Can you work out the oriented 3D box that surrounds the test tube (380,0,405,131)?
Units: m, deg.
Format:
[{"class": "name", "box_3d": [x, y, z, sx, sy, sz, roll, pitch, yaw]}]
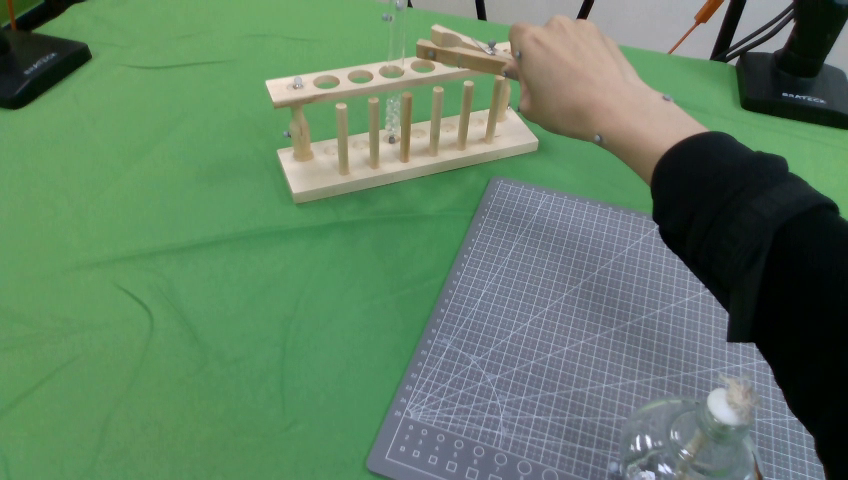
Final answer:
[{"class": "test tube", "box_3d": [-0.028, -0.159, 0.526, 0.017, 0.151, 0.017, 4, 44, -4]}]

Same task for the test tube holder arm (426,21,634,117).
[{"class": "test tube holder arm", "box_3d": [0.075, -0.132, 0.459, 0.177, 0.015, 0.013, 28, 62, 22]}]

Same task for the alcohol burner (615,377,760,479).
[{"class": "alcohol burner", "box_3d": [0.147, 0.108, 0.329, 0.078, 0.120, 0.077, 1, 48, 0]}]

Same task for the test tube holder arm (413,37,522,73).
[{"class": "test tube holder arm", "box_3d": [0.034, -0.144, 0.471, 0.087, 0.015, 0.010, 13, 56, 14]}]

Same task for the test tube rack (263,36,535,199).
[{"class": "test tube rack", "box_3d": [-0.014, -0.115, 0.554, 0.243, 0.086, 0.066, -14, 49, -17]}]
